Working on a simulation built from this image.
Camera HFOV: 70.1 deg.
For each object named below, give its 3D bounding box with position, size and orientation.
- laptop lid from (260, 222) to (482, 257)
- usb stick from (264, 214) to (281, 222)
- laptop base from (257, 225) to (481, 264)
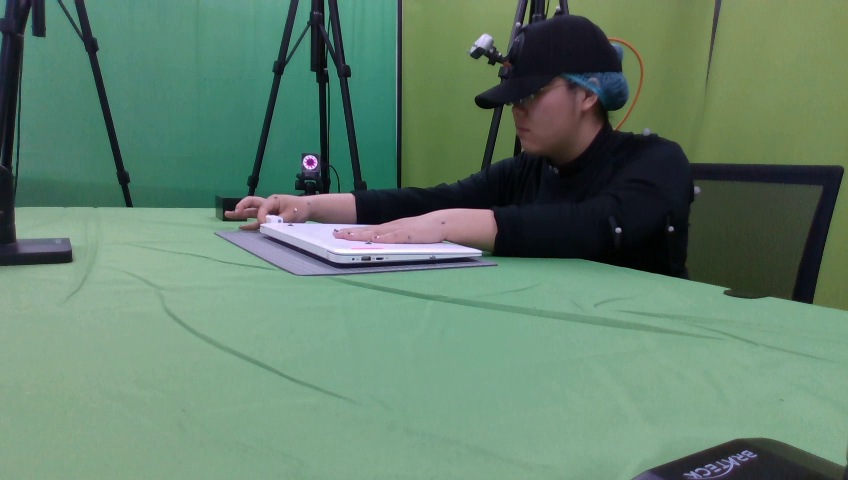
[{"bbox_3d":[-0.099,-0.003,0.963,0.243,0.013,0.355,2,7,-30],"label":"laptop lid"},{"bbox_3d":[-0.269,-0.030,1.082,0.021,0.027,0.059,-9,18,-28],"label":"usb stick"},{"bbox_3d":[-0.102,0.007,0.963,0.237,0.023,0.352,3,6,-32],"label":"laptop base"}]
